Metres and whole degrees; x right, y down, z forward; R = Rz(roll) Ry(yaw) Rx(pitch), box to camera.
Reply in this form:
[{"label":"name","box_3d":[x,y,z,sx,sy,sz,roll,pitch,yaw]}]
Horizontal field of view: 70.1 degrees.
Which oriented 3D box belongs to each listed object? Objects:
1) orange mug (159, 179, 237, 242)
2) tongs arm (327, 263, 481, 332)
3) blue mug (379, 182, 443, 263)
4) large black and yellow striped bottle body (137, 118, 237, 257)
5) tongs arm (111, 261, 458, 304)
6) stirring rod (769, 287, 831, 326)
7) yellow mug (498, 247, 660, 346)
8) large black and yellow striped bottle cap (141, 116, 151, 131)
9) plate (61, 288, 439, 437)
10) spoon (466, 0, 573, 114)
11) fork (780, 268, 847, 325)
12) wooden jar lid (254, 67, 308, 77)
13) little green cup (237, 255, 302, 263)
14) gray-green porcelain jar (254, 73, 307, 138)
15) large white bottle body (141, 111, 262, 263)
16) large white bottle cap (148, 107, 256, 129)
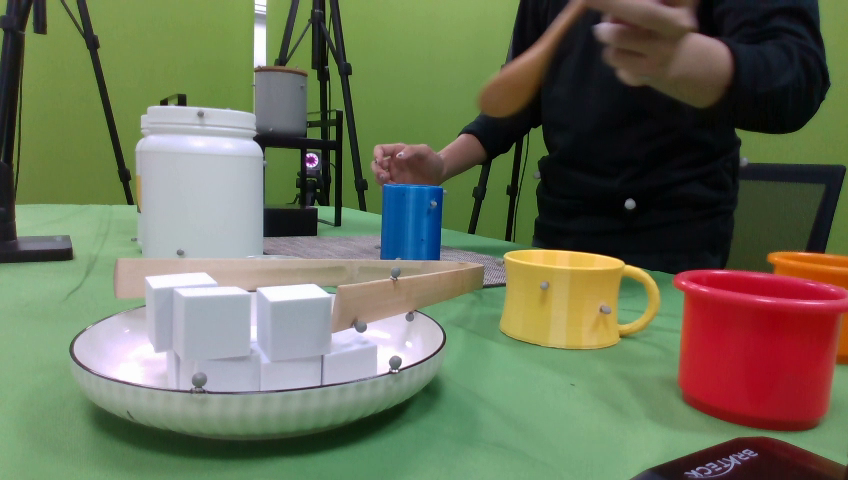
[{"label":"orange mug","box_3d":[-0.368,-0.051,0.991,0.127,0.101,0.083,-10,14,-41]},{"label":"tongs arm","box_3d":[-0.003,0.036,0.493,0.050,0.026,0.386,1,0,19]},{"label":"blue mug","box_3d":[-0.020,-0.025,0.833,0.082,0.106,0.116,1,7,-6]},{"label":"large black and yellow striped bottle body","box_3d":[-0.330,-0.075,0.849,0.131,0.184,0.130,2,8,0]},{"label":"tongs arm","box_3d":[-0.080,0.032,0.527,0.028,0.027,0.389,-3,-3,33]},{"label":"stirring rod","box_3d":[0.348,0.022,0.468,0.014,0.006,0.175,-13,-25,-51]},{"label":"yellow mug","box_3d":[0.130,0.045,0.508,0.131,0.064,0.100,4,7,6]},{"label":"large black and yellow striped bottle cap","box_3d":[-0.328,-0.158,0.837,0.115,0.019,0.115,2,6,0]},{"label":"plate","box_3d":[-0.095,0.069,0.362,0.208,0.039,0.207,3,7,0]},{"label":"spoon","box_3d":[0.104,-0.181,0.495,0.042,0.193,0.021,31,19,-27]},{"label":"fork","box_3d":[0.324,0.018,0.441,0.028,0.018,0.207,-2,-36,-4]},{"label":"wooden jar lid","box_3d":[-0.296,-0.339,1.251,0.108,0.020,0.108,1,7,0]},{"label":"little green cup","box_3d":[-0.150,0.038,0.590,0.061,0.038,0.061,3,6,0]},{"label":"gray-green porcelain jar","box_3d":[-0.298,-0.277,1.259,0.106,0.126,0.106,3,7,0]},{"label":"large white bottle body","box_3d":[-0.254,-0.053,0.697,0.131,0.184,0.130,2,7,0]},{"label":"large white bottle cap","box_3d":[-0.250,-0.137,0.686,0.115,0.018,0.115,3,8,0]}]
